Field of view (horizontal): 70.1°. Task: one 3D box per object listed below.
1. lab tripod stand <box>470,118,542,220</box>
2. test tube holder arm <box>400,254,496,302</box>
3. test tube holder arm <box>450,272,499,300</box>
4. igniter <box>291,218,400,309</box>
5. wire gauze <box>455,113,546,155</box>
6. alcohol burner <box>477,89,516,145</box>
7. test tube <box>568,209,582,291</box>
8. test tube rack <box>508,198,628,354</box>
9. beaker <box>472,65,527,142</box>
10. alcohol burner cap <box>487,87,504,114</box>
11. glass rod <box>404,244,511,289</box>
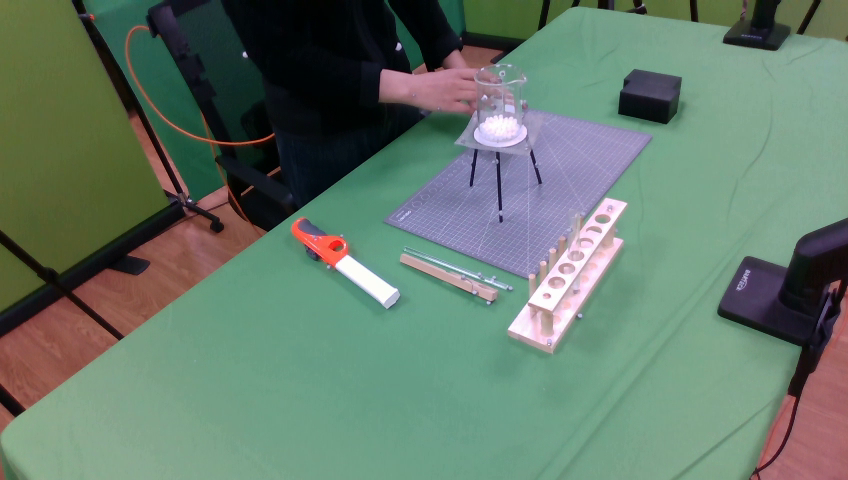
[{"bbox_3d":[0.135,-0.129,1.019,0.148,0.132,0.147,-5,38,5],"label":"lab tripod stand"},{"bbox_3d":[0.032,0.055,0.915,0.177,0.015,0.013,21,16,33],"label":"test tube holder arm"},{"bbox_3d":[0.071,0.068,0.895,0.087,0.015,0.010,21,16,33],"label":"test tube holder arm"},{"bbox_3d":[-0.136,0.031,0.970,0.057,0.025,0.274,-41,49,-19],"label":"igniter"},{"bbox_3d":[0.124,-0.175,0.973,0.124,0.011,0.121,8,39,21],"label":"wire gauze"},{"bbox_3d":[0.139,-0.238,1.164,0.078,0.119,0.077,-4,41,4],"label":"alcohol burner"},{"bbox_3d":[0.200,0.017,0.799,0.017,0.151,0.017,-8,45,8],"label":"test tube"},{"bbox_3d":[0.206,0.039,0.850,0.066,0.085,0.243,20,48,31],"label":"test tube rack"},{"bbox_3d":[0.120,-0.211,0.942,0.083,0.101,0.074,10,42,22],"label":"beaker"},{"bbox_3d":[0.136,-0.265,1.139,0.034,0.048,0.033,-2,48,2],"label":"alcohol burner cap"},{"bbox_3d":[0.047,0.039,0.939,0.198,0.008,0.008,21,49,31],"label":"glass rod"}]
